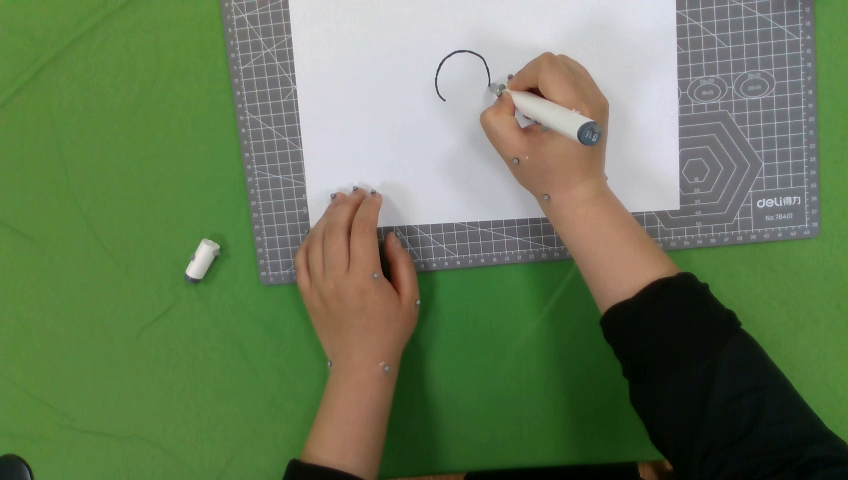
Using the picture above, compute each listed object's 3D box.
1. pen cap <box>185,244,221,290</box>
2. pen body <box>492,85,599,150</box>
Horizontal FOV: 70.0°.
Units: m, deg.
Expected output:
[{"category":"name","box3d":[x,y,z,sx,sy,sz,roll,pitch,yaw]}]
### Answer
[{"category":"pen cap","box3d":[-0.188,0.024,0.513,0.017,0.017,0.038,33,98,2]},{"category":"pen body","box3d":[0.077,-0.090,0.419,0.017,0.142,0.017,-9,118,-16]}]
